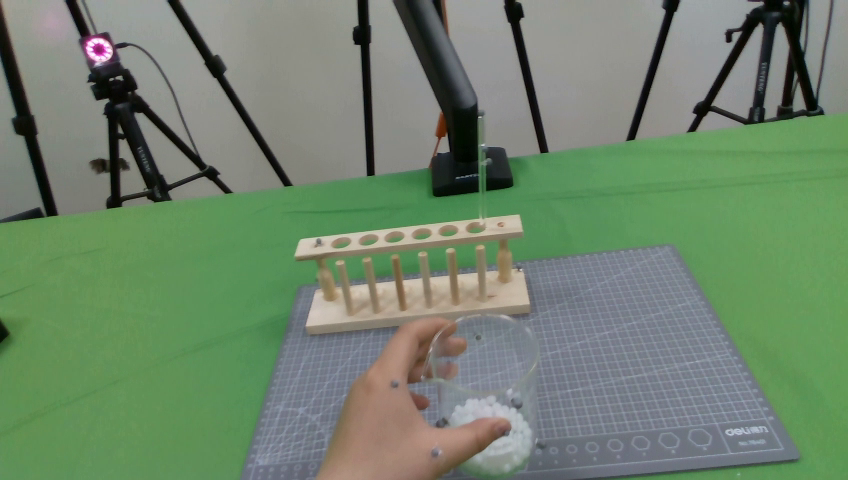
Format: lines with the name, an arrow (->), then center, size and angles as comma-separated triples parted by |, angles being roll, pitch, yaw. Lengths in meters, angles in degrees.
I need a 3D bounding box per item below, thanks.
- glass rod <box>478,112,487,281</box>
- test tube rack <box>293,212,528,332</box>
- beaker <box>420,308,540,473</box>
glass rod -> 0.061, -0.036, 0.621 | 0.008, 0.201, 0.008 | -3, 35, 3
test tube rack -> -0.014, 0.035, 0.654 | 0.242, 0.086, 0.066 | -6, 34, 5
beaker -> 0.041, 0.111, 0.433 | 0.084, 0.101, 0.073 | -18, 37, -14
